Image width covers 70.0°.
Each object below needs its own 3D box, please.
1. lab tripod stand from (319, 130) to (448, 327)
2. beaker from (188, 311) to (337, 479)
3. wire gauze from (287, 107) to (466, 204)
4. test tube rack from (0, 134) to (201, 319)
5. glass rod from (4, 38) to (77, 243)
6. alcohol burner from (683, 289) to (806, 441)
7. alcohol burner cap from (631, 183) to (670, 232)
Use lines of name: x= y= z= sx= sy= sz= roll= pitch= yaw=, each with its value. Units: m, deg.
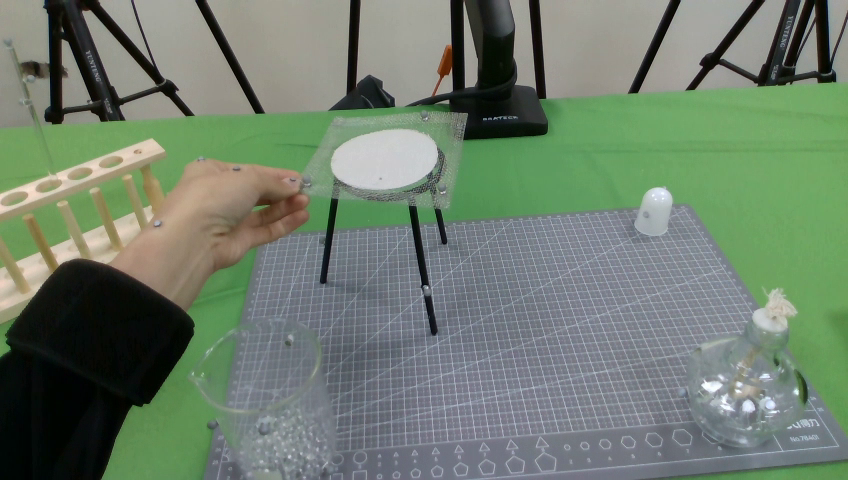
lab tripod stand: x=-0.028 y=-0.014 z=0.518 sx=0.148 sy=0.133 sz=0.147 roll=-2 pitch=42 yaw=2
beaker: x=-0.101 y=0.109 z=0.402 sx=0.084 sy=0.101 sz=0.073 roll=-6 pitch=40 yaw=-3
wire gauze: x=-0.033 y=-0.072 z=0.482 sx=0.125 sy=0.011 sz=0.120 roll=3 pitch=42 yaw=12
test tube rack: x=-0.348 y=-0.009 z=0.570 sx=0.242 sy=0.086 sz=0.066 roll=-30 pitch=47 yaw=-29
glass rod: x=-0.347 y=-0.082 z=0.555 sx=0.008 sy=0.201 sz=0.008 roll=1 pitch=33 yaw=0
alcohol burner: x=0.219 y=0.080 z=0.407 sx=0.078 sy=0.120 sz=0.077 roll=-1 pitch=38 yaw=1
alcohol burner cap: x=0.226 y=-0.035 z=0.601 sx=0.034 sy=0.048 sz=0.033 roll=-1 pitch=40 yaw=1
